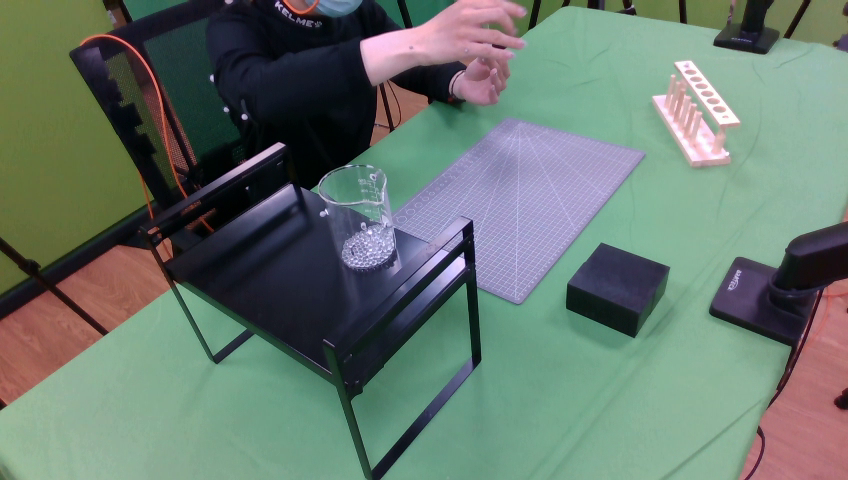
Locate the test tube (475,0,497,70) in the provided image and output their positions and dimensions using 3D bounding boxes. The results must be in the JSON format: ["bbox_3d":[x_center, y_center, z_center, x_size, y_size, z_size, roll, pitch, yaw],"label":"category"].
[{"bbox_3d":[0.108,-0.355,1.046,0.017,0.151,0.017,-8,54,12],"label":"test tube"}]

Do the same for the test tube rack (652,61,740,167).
[{"bbox_3d":[0.499,-0.242,1.130,0.067,0.085,0.241,-5,41,3],"label":"test tube rack"}]

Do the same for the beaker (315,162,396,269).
[{"bbox_3d":[-0.069,-0.024,0.671,0.083,0.101,0.074,27,52,32],"label":"beaker"}]
